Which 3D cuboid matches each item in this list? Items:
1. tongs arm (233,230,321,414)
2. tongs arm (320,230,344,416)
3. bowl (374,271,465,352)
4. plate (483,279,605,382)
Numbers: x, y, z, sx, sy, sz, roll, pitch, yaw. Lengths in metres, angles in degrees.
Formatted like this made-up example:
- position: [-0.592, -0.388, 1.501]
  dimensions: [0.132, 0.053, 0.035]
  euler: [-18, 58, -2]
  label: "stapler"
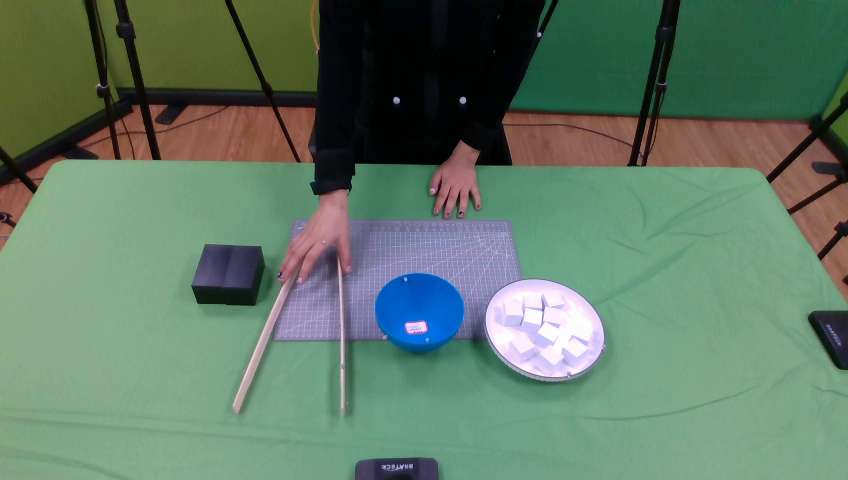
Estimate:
- position: [-0.250, 0.124, 1.054]
  dimensions: [0.028, 0.028, 0.385]
  euler: [5, 46, 10]
  label: "tongs arm"
- position: [-0.163, 0.126, 1.055]
  dimensions: [0.051, 0.026, 0.382]
  euler: [-4, 47, -2]
  label: "tongs arm"
- position: [-0.009, 0.136, 1.024]
  dimensions: [0.151, 0.077, 0.150]
  euler: [2, 47, -2]
  label: "bowl"
- position: [0.204, 0.158, 1.046]
  dimensions: [0.208, 0.039, 0.206]
  euler: [3, 47, -3]
  label: "plate"
